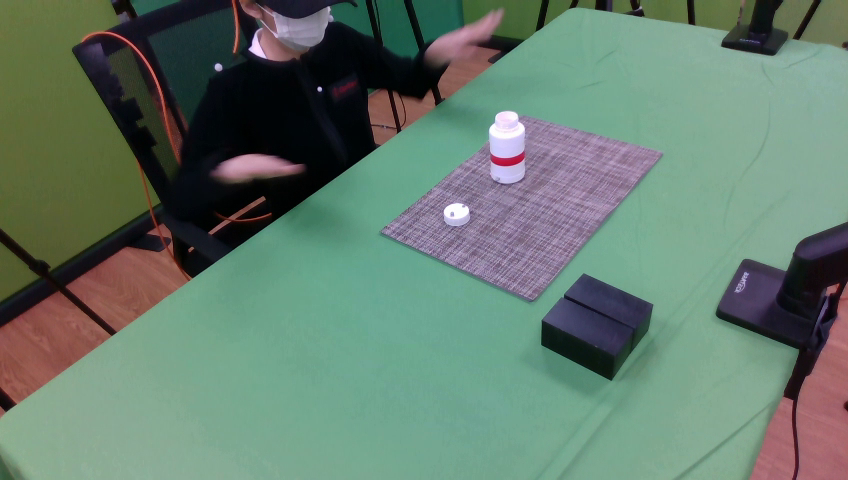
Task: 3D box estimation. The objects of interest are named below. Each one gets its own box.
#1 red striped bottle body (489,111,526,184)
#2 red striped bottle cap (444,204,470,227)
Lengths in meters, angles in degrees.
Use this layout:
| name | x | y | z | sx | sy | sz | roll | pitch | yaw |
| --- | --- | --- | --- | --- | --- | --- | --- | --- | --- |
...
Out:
| name | x | y | z | sx | sy | sz | roll | pitch | yaw |
| --- | --- | --- | --- | --- | --- | --- | --- | --- | --- |
| red striped bottle body | 0.147 | -0.164 | 1.064 | 0.063 | 0.120 | 0.062 | -5 | 39 | 4 |
| red striped bottle cap | 0.055 | -0.042 | 1.016 | 0.044 | 0.018 | 0.044 | -2 | 42 | 3 |
